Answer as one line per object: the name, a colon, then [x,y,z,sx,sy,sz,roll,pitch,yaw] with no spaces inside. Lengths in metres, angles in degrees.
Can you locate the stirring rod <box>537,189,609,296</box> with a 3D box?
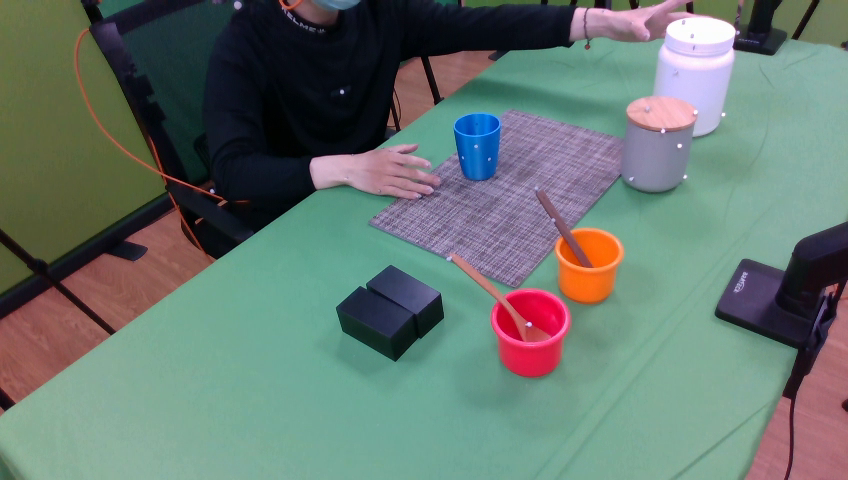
stirring rod: [0.210,0.003,0.855,0.014,0.006,0.176,-32,89,-31]

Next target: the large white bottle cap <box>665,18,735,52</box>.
large white bottle cap: [0.488,-0.364,1.071,0.115,0.018,0.114,-4,41,4]

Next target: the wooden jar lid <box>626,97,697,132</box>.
wooden jar lid: [0.382,-0.198,0.976,0.108,0.021,0.108,-2,40,3]

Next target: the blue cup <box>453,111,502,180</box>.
blue cup: [0.097,-0.166,1.088,0.092,0.100,0.092,-3,40,3]

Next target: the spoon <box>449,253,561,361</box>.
spoon: [0.103,0.083,0.770,0.194,0.021,0.042,47,52,-7]

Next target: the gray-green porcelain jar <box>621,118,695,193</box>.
gray-green porcelain jar: [0.389,-0.152,1.016,0.106,0.127,0.105,-4,40,4]

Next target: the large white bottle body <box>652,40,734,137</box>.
large white bottle body: [0.497,-0.300,1.126,0.130,0.185,0.130,-4,41,4]
